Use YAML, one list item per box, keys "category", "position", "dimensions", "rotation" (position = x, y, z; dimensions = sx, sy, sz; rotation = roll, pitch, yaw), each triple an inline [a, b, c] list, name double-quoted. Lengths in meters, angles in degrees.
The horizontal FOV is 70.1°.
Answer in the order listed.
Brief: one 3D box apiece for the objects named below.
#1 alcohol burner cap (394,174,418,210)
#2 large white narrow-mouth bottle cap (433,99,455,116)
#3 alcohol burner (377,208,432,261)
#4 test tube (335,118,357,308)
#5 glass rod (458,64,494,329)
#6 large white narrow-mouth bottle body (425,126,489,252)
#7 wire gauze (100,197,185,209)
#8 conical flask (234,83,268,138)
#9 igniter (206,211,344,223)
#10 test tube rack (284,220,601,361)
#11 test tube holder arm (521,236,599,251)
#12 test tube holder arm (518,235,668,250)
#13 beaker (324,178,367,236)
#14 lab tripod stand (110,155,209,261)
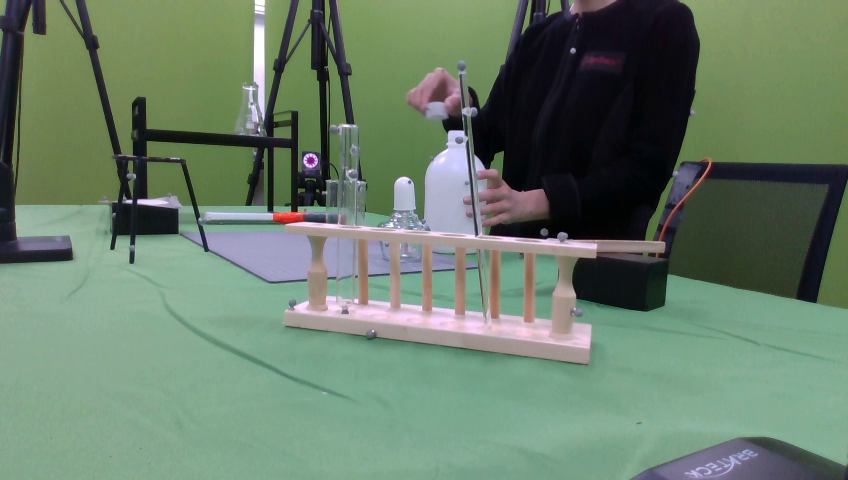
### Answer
- category: "alcohol burner cap"
  position: [-0.026, -0.067, 0.833]
  dimensions: [0.034, 0.048, 0.034]
  rotation: [-1, 12, 1]
- category: "large white narrow-mouth bottle cap"
  position: [0.032, -0.211, 0.968]
  dimensions: [0.038, 0.024, 0.037]
  rotation: [2, 8, 0]
- category: "alcohol burner"
  position: [-0.027, -0.031, 0.838]
  dimensions: [0.078, 0.119, 0.078]
  rotation: [0, 6, 0]
- category: "test tube"
  position: [-0.061, -0.019, 0.476]
  dimensions: [0.017, 0.150, 0.017]
  rotation: [2, 11, 0]
- category: "glass rod"
  position: [0.039, -0.029, 0.449]
  dimensions: [0.008, 0.199, 0.008]
  rotation: [-7, 9, 1]
- category: "large white narrow-mouth bottle body"
  position: [0.053, -0.082, 0.962]
  dimensions: [0.102, 0.194, 0.102]
  rotation: [1, 7, 0]
- category: "wire gauze"
  position: [-0.469, -0.062, 1.008]
  dimensions: [0.126, 0.011, 0.121]
  rotation: [-2, 8, -25]
- category: "conical flask"
  position: [-0.400, -0.298, 1.396]
  dimensions: [0.075, 0.122, 0.075]
  rotation: [2, 8, 0]
- category: "igniter"
  position: [-0.302, -0.048, 1.249]
  dimensions: [0.278, 0.025, 0.057]
  rotation: [-2, -2, -27]
- category: "test tube rack"
  position: [0.013, 0.032, 0.482]
  dimensions: [0.242, 0.085, 0.067]
  rotation: [4, 7, 16]
- category: "test tube holder arm"
  position: [0.144, 0.004, 0.635]
  dimensions: [0.088, 0.015, 0.010]
  rotation: [0, 13, -19]
- category: "test tube holder arm"
  position: [0.186, 0.003, 0.654]
  dimensions: [0.179, 0.015, 0.013]
  rotation: [0, 13, -18]
- category: "beaker"
  position: [-0.139, -0.060, 1.083]
  dimensions: [0.074, 0.100, 0.083]
  rotation: [-3, 9, -31]
- category: "lab tripod stand"
  position: [-0.361, -0.046, 0.806]
  dimensions: [0.148, 0.131, 0.148]
  rotation: [2, 5, 0]
